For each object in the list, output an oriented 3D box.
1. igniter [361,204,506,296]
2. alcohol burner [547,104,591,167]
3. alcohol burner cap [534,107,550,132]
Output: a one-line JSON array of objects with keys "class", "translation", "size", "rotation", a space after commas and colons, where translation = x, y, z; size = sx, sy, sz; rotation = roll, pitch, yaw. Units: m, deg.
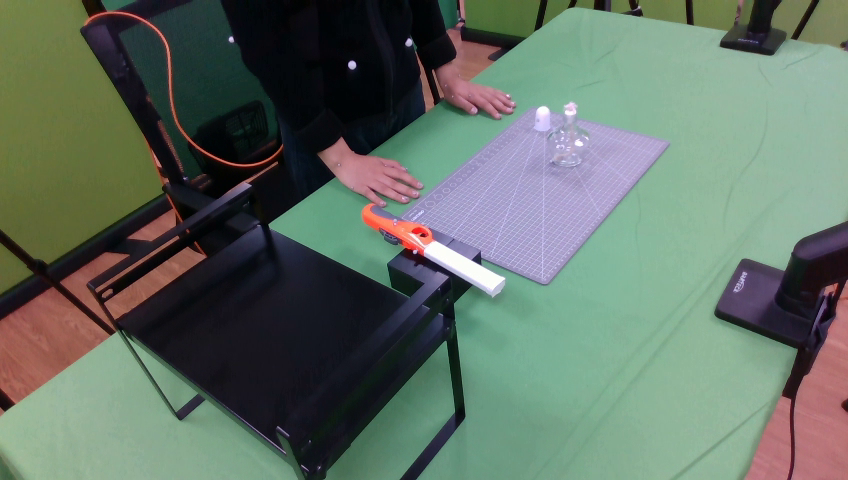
[{"class": "igniter", "translation": [0.003, 0.008, 0.889], "size": [0.274, 0.025, 0.057], "rotation": [29, 49, 33]}, {"class": "alcohol burner", "translation": [0.260, -0.192, 1.087], "size": [0.078, 0.119, 0.077], "rotation": [-5, 42, 5]}, {"class": "alcohol burner cap", "translation": [0.236, -0.243, 1.206], "size": [0.034, 0.048, 0.033], "rotation": [-4, 39, 4]}]
